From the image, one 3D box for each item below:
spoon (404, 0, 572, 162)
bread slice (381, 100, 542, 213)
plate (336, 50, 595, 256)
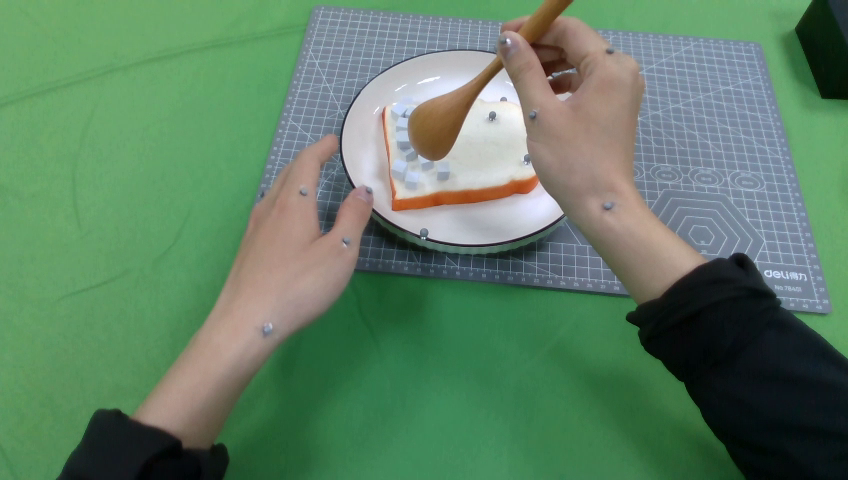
[{"bbox_3d":[0.043,-0.112,0.389,0.041,0.194,0.021,54,40,5],"label":"spoon"},{"bbox_3d":[0.031,-0.076,0.506,0.132,0.019,0.104,-8,59,-4],"label":"bread slice"},{"bbox_3d":[0.033,-0.073,0.500,0.209,0.038,0.207,1,59,-1],"label":"plate"}]
